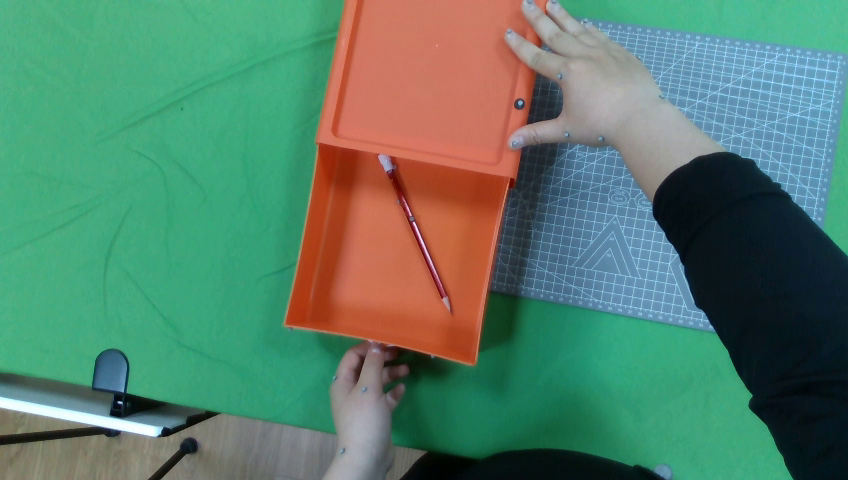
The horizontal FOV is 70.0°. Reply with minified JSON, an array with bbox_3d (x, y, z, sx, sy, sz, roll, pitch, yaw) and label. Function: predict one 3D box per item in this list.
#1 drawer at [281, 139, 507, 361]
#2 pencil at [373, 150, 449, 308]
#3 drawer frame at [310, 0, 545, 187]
[{"bbox_3d":[-0.025,0.000,0.615,0.194,0.073,0.211,10,90,7],"label":"drawer"},{"bbox_3d":[-0.014,-0.017,0.640,0.012,0.012,0.194,-24,88,5],"label":"pencil"},{"bbox_3d":[0.008,-0.177,0.613,0.201,0.083,0.213,10,88,7],"label":"drawer frame"}]
